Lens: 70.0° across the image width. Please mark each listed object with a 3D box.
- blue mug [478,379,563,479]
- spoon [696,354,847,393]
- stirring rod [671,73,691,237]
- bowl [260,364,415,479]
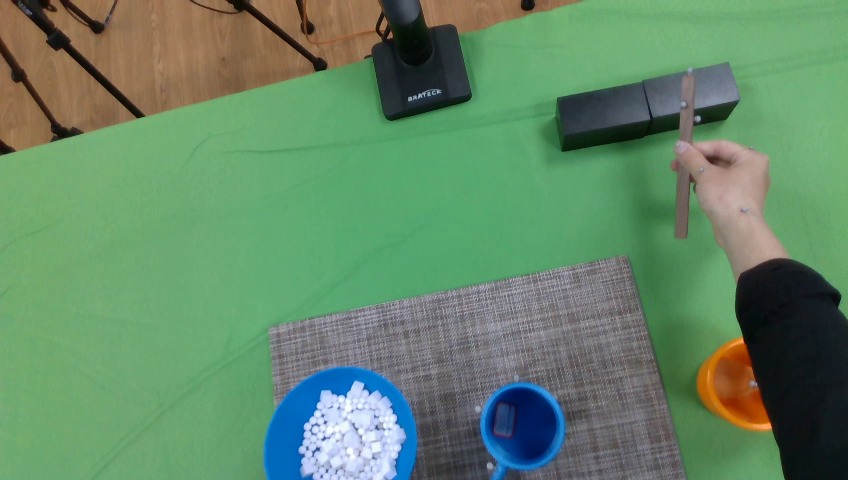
[{"bbox_3d":[0.094,0.205,0.639,0.082,0.106,0.116,26,81,15],"label":"blue mug"},{"bbox_3d":[0.362,0.138,0.595,0.022,0.193,0.041,20,74,-31],"label":"spoon"},{"bbox_3d":[0.278,-0.091,0.656,0.014,0.006,0.176,3,95,32],"label":"stirring rod"},{"bbox_3d":[-0.081,0.210,0.621,0.151,0.077,0.150,-1,65,3],"label":"bowl"}]
